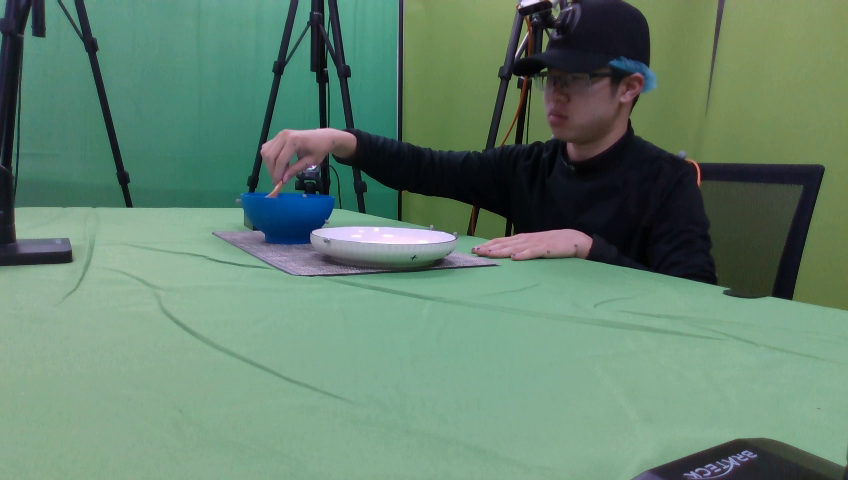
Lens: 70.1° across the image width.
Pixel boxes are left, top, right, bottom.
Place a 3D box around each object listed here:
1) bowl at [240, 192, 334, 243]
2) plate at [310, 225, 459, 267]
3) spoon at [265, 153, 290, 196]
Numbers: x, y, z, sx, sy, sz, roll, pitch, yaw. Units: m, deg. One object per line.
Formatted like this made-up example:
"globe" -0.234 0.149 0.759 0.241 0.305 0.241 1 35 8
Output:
"bowl" -0.223 -0.037 0.992 0.151 0.077 0.151 2 7 0
"plate" -0.055 0.008 0.851 0.208 0.039 0.207 2 7 0
"spoon" -0.253 -0.093 1.040 0.021 0.042 0.193 -8 40 15
